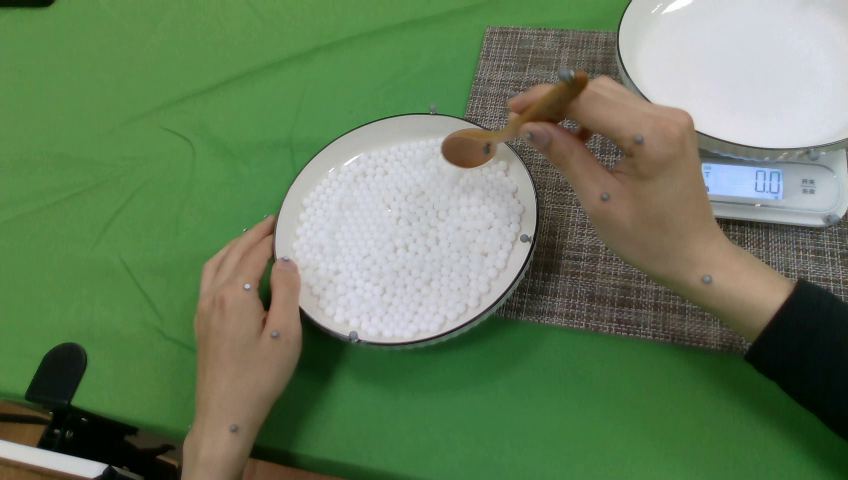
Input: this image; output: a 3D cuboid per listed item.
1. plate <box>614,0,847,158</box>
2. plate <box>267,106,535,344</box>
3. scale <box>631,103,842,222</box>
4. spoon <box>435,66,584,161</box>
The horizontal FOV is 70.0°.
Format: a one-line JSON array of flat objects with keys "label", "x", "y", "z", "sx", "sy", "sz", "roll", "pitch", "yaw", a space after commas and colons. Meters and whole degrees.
[{"label": "plate", "x": 0.253, "y": -0.144, "z": 0.469, "sx": 0.207, "sy": 0.039, "sz": 0.206, "roll": -3, "pitch": 61, "yaw": 7}, {"label": "plate", "x": -0.018, "y": -0.014, "z": 0.476, "sx": 0.209, "sy": 0.038, "sz": 0.207, "roll": -4, "pitch": 61, "yaw": 8}, {"label": "scale", "x": 0.250, "y": -0.111, "z": 0.489, "sx": 0.148, "sy": 0.032, "sz": 0.199, "roll": 7, "pitch": 63, "yaw": 13}, {"label": "spoon", "x": 0.050, "y": -0.076, "z": 0.393, "sx": 0.042, "sy": 0.193, "sz": 0.021, "roll": 19, "pitch": 84, "yaw": -16}]
